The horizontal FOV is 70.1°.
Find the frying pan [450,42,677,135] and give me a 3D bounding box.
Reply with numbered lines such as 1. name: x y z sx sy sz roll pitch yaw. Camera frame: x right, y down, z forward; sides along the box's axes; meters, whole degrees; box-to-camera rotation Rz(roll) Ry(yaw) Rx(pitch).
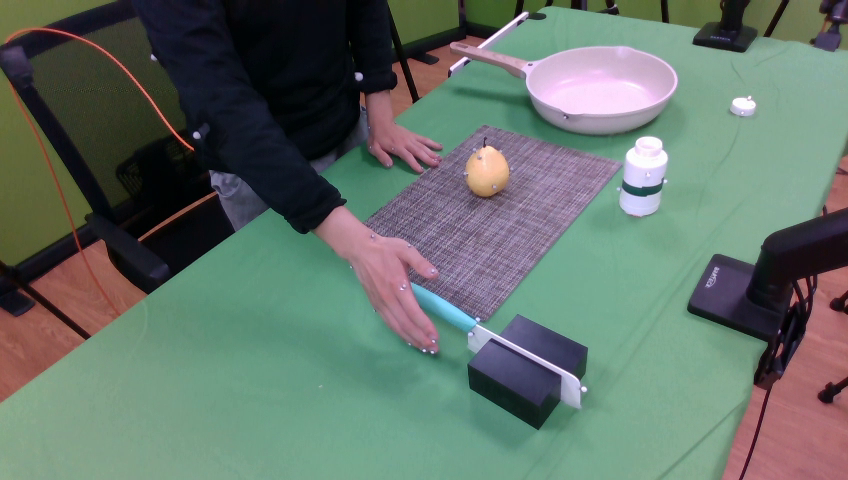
1. frying pan: 0.268 -0.344 1.266 0.485 0.103 0.307 26 49 21

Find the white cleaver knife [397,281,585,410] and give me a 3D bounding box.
1. white cleaver knife: 0.074 0.131 0.770 0.284 0.066 0.021 27 44 31

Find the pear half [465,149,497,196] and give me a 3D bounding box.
1. pear half: 0.091 -0.110 1.025 0.070 0.088 0.031 30 52 30

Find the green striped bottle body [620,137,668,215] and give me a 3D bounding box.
1. green striped bottle body: 0.350 -0.103 0.963 0.063 0.120 0.063 -4 41 4

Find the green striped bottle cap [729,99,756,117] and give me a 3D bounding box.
1. green striped bottle cap: 0.623 -0.259 1.182 0.044 0.020 0.044 -3 40 3

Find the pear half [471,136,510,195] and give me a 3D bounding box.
1. pear half: 0.115 -0.136 1.036 0.076 0.110 0.056 31 53 30
